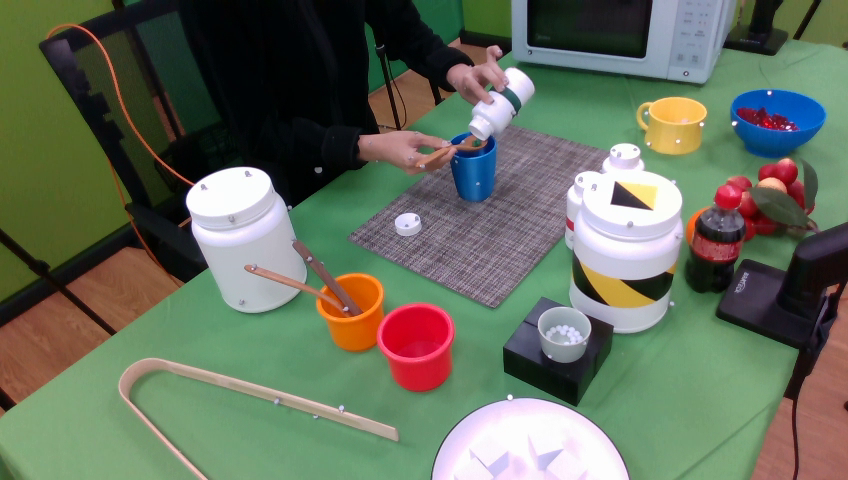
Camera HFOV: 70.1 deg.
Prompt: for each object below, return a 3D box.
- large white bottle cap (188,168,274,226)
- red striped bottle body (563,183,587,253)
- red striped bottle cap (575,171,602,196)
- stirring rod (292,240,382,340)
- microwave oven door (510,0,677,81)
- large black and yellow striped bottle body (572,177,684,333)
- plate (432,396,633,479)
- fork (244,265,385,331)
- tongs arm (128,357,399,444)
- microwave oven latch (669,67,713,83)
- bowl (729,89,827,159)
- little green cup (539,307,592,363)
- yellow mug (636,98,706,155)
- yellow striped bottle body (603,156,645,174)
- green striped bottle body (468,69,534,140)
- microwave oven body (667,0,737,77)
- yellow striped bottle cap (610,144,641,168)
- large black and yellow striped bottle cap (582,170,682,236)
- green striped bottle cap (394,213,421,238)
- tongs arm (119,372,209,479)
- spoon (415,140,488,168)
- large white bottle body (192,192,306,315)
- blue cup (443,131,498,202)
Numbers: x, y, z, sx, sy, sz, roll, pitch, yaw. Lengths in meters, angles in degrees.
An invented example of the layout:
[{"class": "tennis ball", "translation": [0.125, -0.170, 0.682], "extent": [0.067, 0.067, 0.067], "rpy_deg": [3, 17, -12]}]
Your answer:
[{"class": "large white bottle cap", "translation": [-0.264, -0.061, 0.831], "extent": [0.115, 0.018, 0.114], "rpy_deg": [-4, 40, 4]}, {"class": "red striped bottle body", "translation": [0.246, -0.041, 0.910], "extent": [0.063, 0.120, 0.062], "rpy_deg": [-2, 38, 2]}, {"class": "red striped bottle cap", "translation": [0.242, -0.081, 0.876], "extent": [0.044, 0.018, 0.044], "rpy_deg": [-5, 44, 5]}, {"class": "stirring rod", "translation": [-0.119, 0.068, 0.826], "extent": [0.176, 0.006, 0.014], "rpy_deg": [49, 58, -4]}, {"class": "microwave oven door", "translation": [0.354, -0.478, 1.290], "extent": [0.353, 0.245, 0.039], "rpy_deg": [15, 45, 25]}, {"class": "large black and yellow striped bottle body", "translation": [0.262, 0.017, 0.788], "extent": [0.131, 0.185, 0.130], "rpy_deg": [-5, 40, 4]}, {"class": "plate", "translation": [0.112, 0.261, 0.634], "extent": [0.209, 0.038, 0.208], "rpy_deg": [-5, 40, 4]}, {"class": "fork", "translation": [-0.142, 0.078, 0.806], "extent": [0.209, 0.018, 0.028], "rpy_deg": [30, 32, -23]}, {"class": "tongs arm", "translation": [-0.213, 0.205, 0.755], "extent": [0.382, 0.026, 0.051], "rpy_deg": [12, 46, 23]}, {"class": "microwave oven latch", "translation": [0.556, -0.349, 1.261], "extent": [0.078, 0.029, 0.030], "rpy_deg": [16, 46, 27]}, {"class": "bowl", "translation": [0.615, -0.197, 1.069], "extent": [0.151, 0.077, 0.150], "rpy_deg": [-5, 40, 5]}, {"class": "little green cup", "translation": [0.168, 0.115, 0.721], "extent": [0.061, 0.039, 0.061], "rpy_deg": [-4, 42, 4]}, {"class": "yellow mug", "translation": [0.453, -0.218, 1.129], "extent": [0.100, 0.064, 0.129], "rpy_deg": [-34, 46, -27]}, {"class": "yellow striped bottle body", "translation": [0.313, -0.089, 0.956], "extent": [0.063, 0.121, 0.062], "rpy_deg": [-5, 40, 4]}, {"class": "green striped bottle body", "translation": [0.125, -0.223, 1.011], "extent": [0.062, 0.063, 0.119], "rpy_deg": [32, 77, 38]}, {"class": "microwave oven body", "translation": [0.462, -0.552, 1.368], "extent": [0.439, 0.261, 0.326], "rpy_deg": [14, 45, 26]}, {"class": "yellow striped bottle cap", "translation": [0.307, -0.128, 0.923], "extent": [0.044, 0.019, 0.044], "rpy_deg": [-6, 39, 5]}, {"class": "large black and yellow striped bottle cap", "translation": [0.252, -0.048, 0.735], "extent": [0.115, 0.019, 0.114], "rpy_deg": [-3, 40, 3]}, {"class": "green striped bottle cap", "translation": [-0.028, -0.025, 1.010], "extent": [0.044, 0.020, 0.044], "rpy_deg": [-2, 43, 3]}, {"class": "tongs arm", "translation": [-0.258, 0.257, 0.700], "extent": [0.384, 0.028, 0.028], "rpy_deg": [24, 55, 34]}, {"class": "spoon", "translation": [0.043, -0.141, 0.954], "extent": [0.041, 0.021, 0.195], "rpy_deg": [25, 30, 28]}, {"class": "large white bottle body", "translation": [-0.256, 0.004, 0.885], "extent": [0.130, 0.185, 0.130], "rpy_deg": [-4, 40, 4]}, {"class": "blue cup", "translation": [0.087, -0.122, 1.040], "extent": [0.092, 0.100, 0.092], "rpy_deg": [-5, 42, 5]}]
